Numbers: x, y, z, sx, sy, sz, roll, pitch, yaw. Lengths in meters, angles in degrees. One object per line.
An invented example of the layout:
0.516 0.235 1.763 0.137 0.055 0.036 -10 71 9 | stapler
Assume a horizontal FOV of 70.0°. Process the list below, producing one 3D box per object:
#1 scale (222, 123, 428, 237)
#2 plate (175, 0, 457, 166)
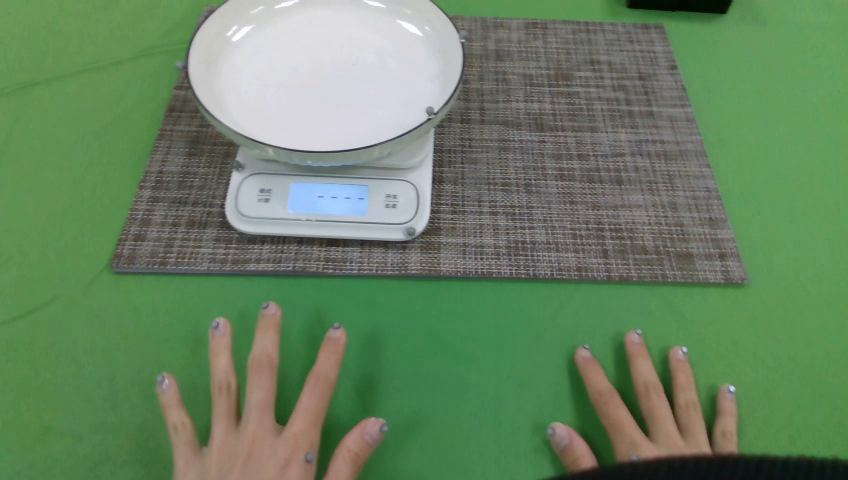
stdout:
-0.071 -0.092 0.481 0.149 0.032 0.199 2 56 -1 | scale
-0.079 -0.133 0.468 0.208 0.039 0.205 2 56 -3 | plate
